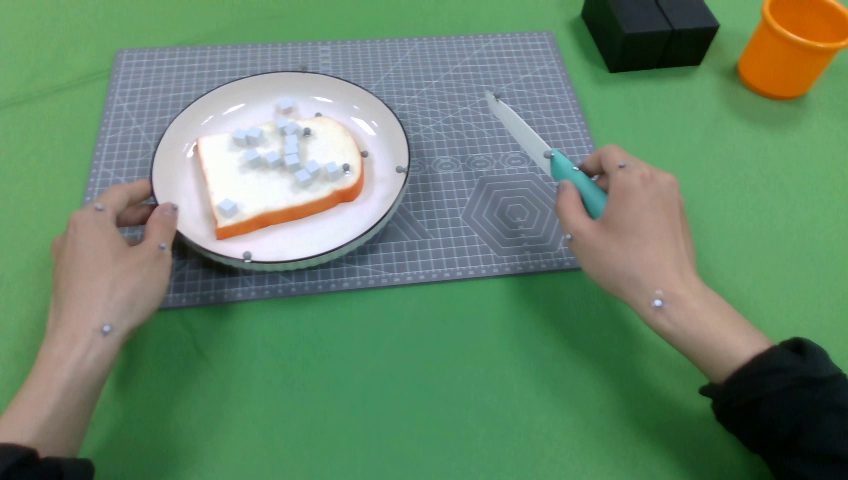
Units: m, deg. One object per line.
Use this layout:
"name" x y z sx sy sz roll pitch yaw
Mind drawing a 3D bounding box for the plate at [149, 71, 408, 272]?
"plate" -0.117 -0.059 0.509 0.209 0.038 0.207 2 56 -3

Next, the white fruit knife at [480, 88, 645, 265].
"white fruit knife" 0.101 -0.061 0.479 0.016 0.027 0.205 -17 53 -29

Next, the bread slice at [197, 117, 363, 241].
"bread slice" -0.120 -0.061 0.513 0.132 0.019 0.104 -19 59 -14
